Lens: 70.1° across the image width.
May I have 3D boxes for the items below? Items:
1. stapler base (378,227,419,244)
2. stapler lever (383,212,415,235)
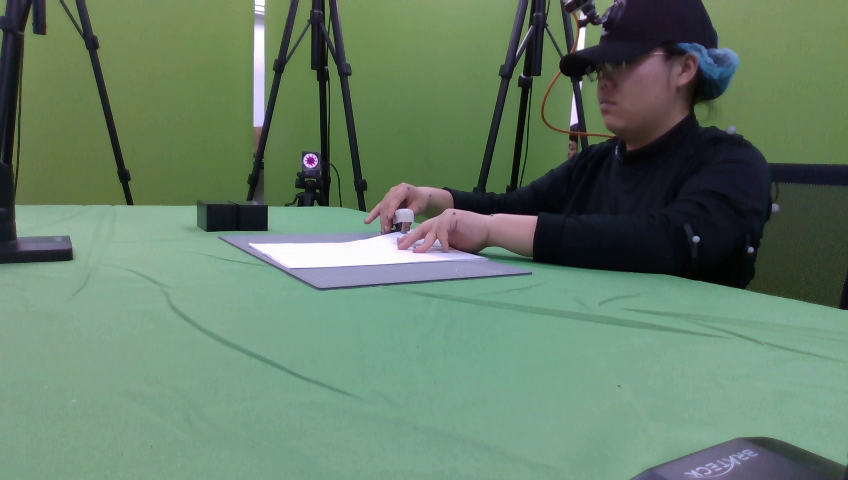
[{"bbox_3d":[-0.046,-0.012,1.074,0.041,0.024,0.130,3,4,-20],"label":"stapler base"},{"bbox_3d":[-0.045,-0.034,1.073,0.027,0.040,0.117,3,8,-20],"label":"stapler lever"}]
